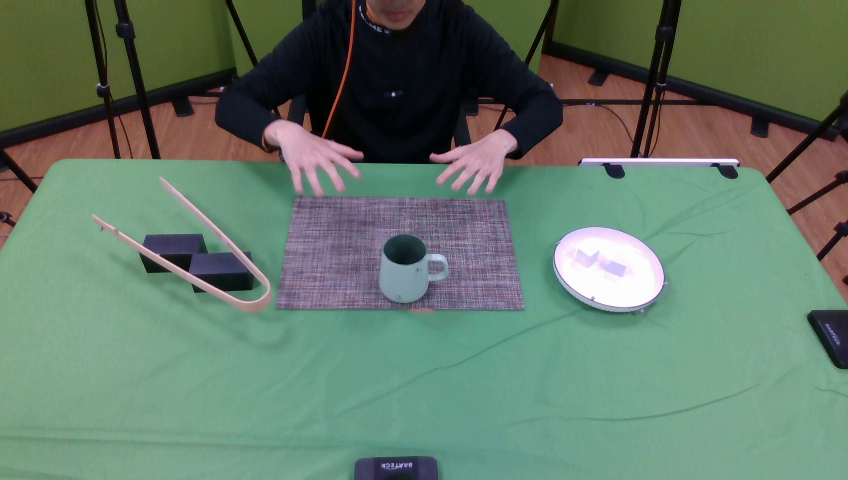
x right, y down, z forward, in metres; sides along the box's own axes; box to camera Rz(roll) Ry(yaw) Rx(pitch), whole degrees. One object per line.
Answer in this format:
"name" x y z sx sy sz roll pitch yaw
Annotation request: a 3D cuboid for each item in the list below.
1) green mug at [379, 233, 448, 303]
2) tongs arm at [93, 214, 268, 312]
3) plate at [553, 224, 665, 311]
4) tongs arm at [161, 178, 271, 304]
"green mug" -0.018 0.050 1.084 0.125 0.105 0.092 -1 46 -4
"tongs arm" -0.434 0.031 1.063 0.383 0.026 0.050 28 47 21
"plate" 0.349 0.055 1.159 0.209 0.038 0.208 2 47 -2
"tongs arm" -0.386 -0.010 1.108 0.028 0.028 0.385 -29 54 -36
